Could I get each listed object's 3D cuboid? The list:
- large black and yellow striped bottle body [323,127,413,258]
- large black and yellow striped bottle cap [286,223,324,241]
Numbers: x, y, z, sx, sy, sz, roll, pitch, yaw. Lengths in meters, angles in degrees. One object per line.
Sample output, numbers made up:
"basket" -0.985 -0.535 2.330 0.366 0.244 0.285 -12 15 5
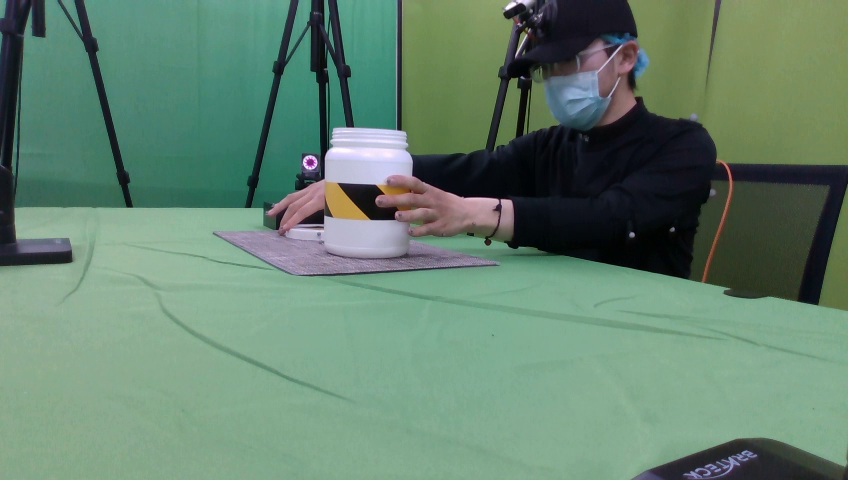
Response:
"large black and yellow striped bottle body" -0.083 -0.073 0.899 0.131 0.184 0.130 2 7 0
"large black and yellow striped bottle cap" -0.188 -0.016 1.077 0.115 0.019 0.115 2 9 0
